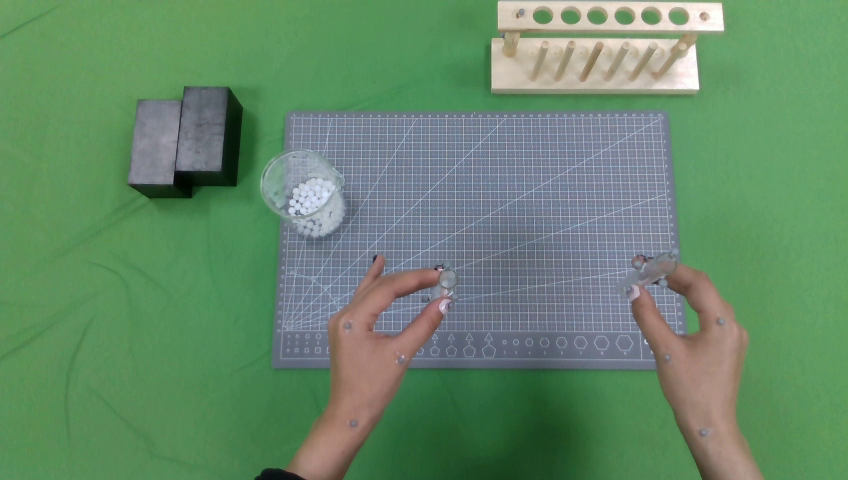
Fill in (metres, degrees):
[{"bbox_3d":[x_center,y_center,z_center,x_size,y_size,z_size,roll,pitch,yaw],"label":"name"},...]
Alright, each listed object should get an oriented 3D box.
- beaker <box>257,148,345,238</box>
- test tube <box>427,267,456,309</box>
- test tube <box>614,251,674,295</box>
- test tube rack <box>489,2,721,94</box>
[{"bbox_3d":[-0.123,-0.046,0.646,0.084,0.100,0.073,-7,77,-2],"label":"beaker"},{"bbox_3d":[0.013,0.044,0.516,0.017,0.151,0.017,1,77,-2],"label":"test tube"},{"bbox_3d":[0.179,0.030,0.504,0.017,0.151,0.017,-1,78,6],"label":"test tube"},{"bbox_3d":[0.198,-0.217,0.691,0.242,0.085,0.066,0,77,1],"label":"test tube rack"}]
